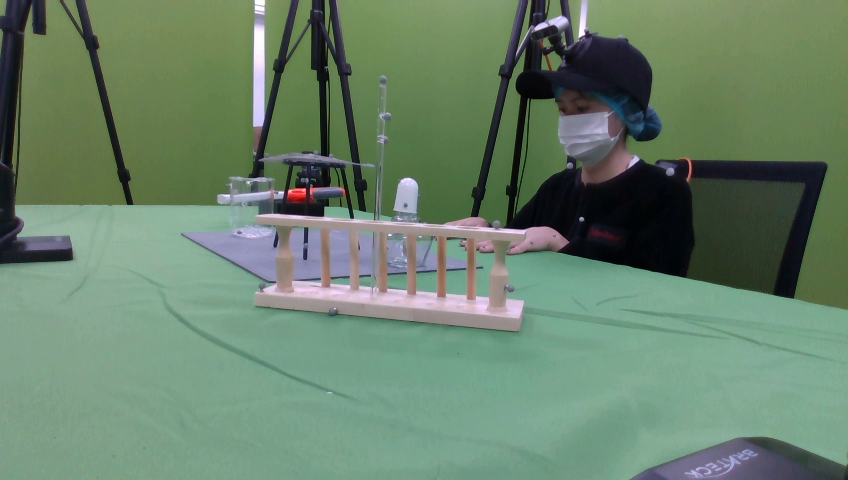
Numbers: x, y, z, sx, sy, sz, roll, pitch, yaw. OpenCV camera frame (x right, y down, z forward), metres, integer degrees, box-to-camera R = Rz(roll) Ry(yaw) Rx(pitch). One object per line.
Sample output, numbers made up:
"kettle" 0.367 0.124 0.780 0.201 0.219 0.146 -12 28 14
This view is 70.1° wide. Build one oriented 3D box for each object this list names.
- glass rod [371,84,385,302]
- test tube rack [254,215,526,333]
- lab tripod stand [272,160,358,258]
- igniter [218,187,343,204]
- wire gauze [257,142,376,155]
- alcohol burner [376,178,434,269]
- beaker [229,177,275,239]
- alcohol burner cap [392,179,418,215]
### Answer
"glass rod" -0.041 -0.040 0.548 0.008 0.199 0.008 2 2 0
"test tube rack" -0.030 0.025 0.558 0.242 0.085 0.067 4 7 12
"lab tripod stand" -0.159 -0.048 0.876 0.148 0.131 0.148 3 5 0
"igniter" -0.287 -0.093 1.257 0.278 0.025 0.057 -8 12 -41
"wire gauze" -0.155 -0.130 0.871 0.124 0.011 0.122 -1 7 36
"alcohol burner" -0.025 -0.022 0.800 0.078 0.119 0.078 1 6 0
"beaker" -0.292 -0.056 1.023 0.074 0.100 0.083 -1 8 -26
"alcohol burner cap" -0.023 -0.057 0.795 0.034 0.048 0.034 6 6 0
